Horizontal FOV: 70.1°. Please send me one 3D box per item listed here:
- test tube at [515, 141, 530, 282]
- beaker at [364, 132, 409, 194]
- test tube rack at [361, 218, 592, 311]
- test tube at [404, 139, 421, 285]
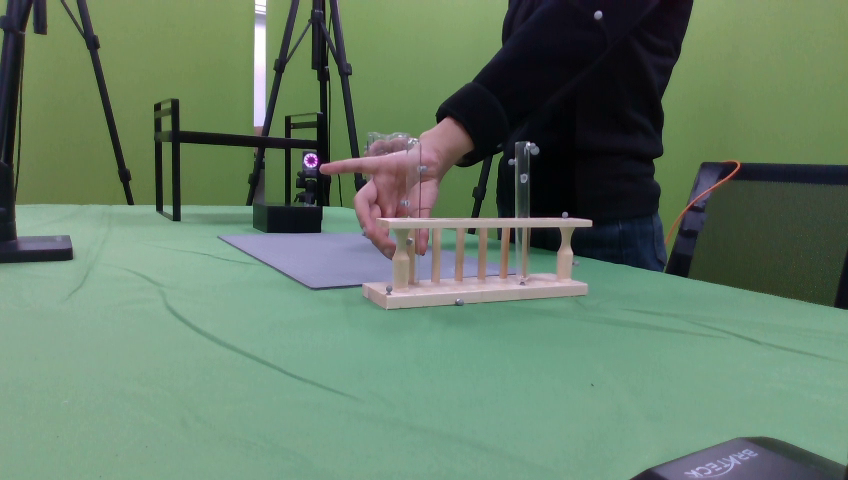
[{"bbox_3d":[0.104,-0.028,0.635,0.017,0.150,0.017,-2,12,1],"label":"test tube"},{"bbox_3d":[-0.061,-0.126,0.993,0.074,0.100,0.084,-1,8,-3],"label":"beaker"},{"bbox_3d":[0.060,0.018,0.640,0.243,0.085,0.066,-1,9,-27],"label":"test tube rack"},{"bbox_3d":[-0.012,-0.027,0.617,0.017,0.150,0.017,1,9,0],"label":"test tube"}]
